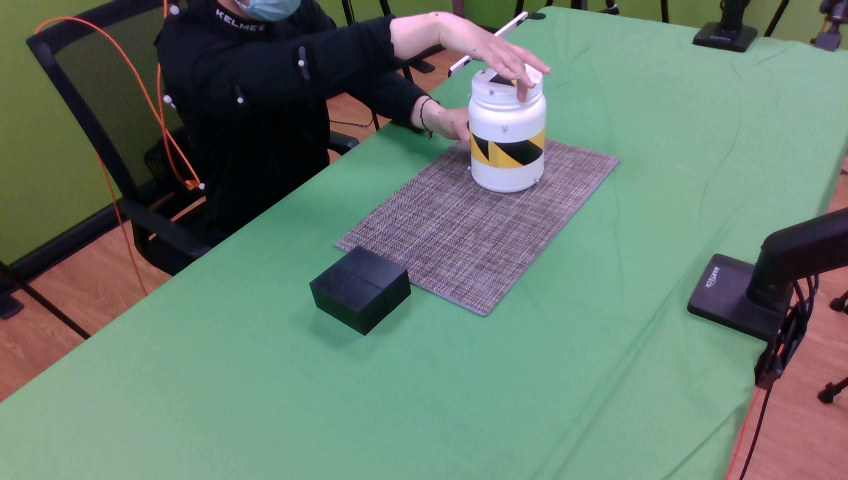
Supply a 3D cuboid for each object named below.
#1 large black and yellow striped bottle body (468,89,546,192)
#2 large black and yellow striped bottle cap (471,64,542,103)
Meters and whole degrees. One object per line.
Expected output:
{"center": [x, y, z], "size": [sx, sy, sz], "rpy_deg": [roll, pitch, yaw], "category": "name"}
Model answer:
{"center": [0.142, -0.190, 1.039], "size": [0.131, 0.185, 0.130], "rpy_deg": [-4, 41, 4], "category": "large black and yellow striped bottle body"}
{"center": [0.133, -0.256, 0.983], "size": [0.115, 0.019, 0.114], "rpy_deg": [-4, 39, 4], "category": "large black and yellow striped bottle cap"}
